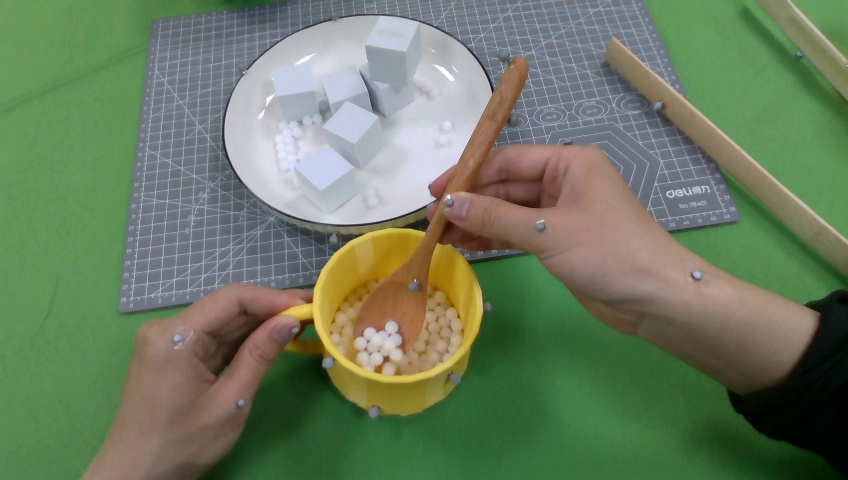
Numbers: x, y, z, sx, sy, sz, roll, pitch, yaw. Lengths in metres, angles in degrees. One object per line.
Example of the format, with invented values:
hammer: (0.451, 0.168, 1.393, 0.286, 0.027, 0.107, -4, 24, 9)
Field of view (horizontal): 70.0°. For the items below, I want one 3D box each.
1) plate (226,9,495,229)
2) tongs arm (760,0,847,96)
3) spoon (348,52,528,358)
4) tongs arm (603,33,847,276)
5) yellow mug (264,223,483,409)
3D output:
plate: (-0.046, -0.095, 0.474, 0.207, 0.039, 0.206, -1, 62, 3)
tongs arm: (0.337, -0.064, 0.439, 0.051, 0.027, 0.381, -21, 64, -7)
spoon: (0.008, -0.013, 0.337, 0.041, 0.021, 0.194, 32, 113, 8)
tongs arm: (0.264, -0.029, 0.428, 0.028, 0.028, 0.384, -32, 66, -16)
yellow mug: (-0.032, 0.050, 0.375, 0.131, 0.064, 0.099, -6, 60, -7)
